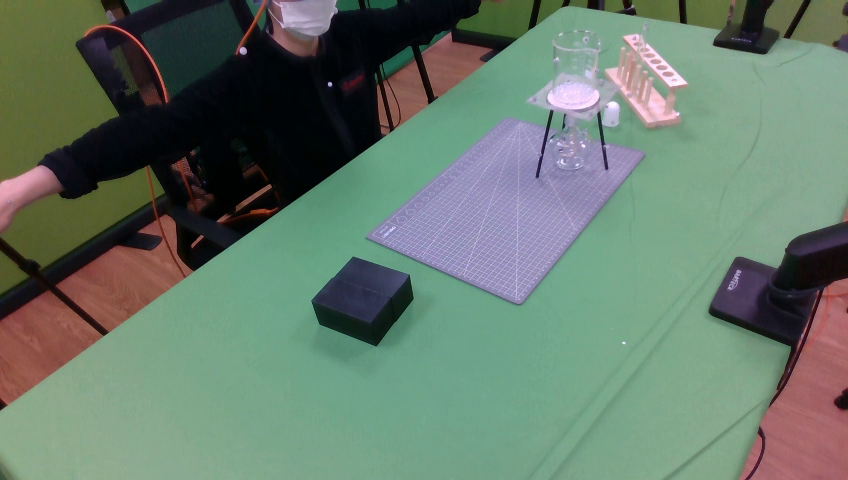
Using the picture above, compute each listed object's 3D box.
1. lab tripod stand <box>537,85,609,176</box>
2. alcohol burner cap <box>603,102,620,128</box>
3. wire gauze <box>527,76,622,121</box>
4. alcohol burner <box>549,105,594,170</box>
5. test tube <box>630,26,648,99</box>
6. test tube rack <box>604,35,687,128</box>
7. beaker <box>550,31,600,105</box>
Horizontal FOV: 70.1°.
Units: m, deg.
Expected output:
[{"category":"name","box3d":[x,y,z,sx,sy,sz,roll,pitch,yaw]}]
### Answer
[{"category":"lab tripod stand","box3d":[0.259,-0.192,1.068,0.148,0.132,0.147,-4,43,4]},{"category":"alcohol burner cap","box3d":[0.371,-0.249,1.193,0.034,0.048,0.033,-5,41,5]},{"category":"wire gauze","box3d":[0.255,-0.247,1.030,0.124,0.011,0.122,23,49,34]},{"category":"alcohol burner","box3d":[0.262,-0.186,1.076,0.078,0.119,0.077,-6,41,6]},{"category":"test tube","box3d":[0.426,-0.350,1.199,0.017,0.151,0.017,-4,42,4]},{"category":"test tube rack","box3d":[0.447,-0.330,1.241,0.067,0.085,0.241,-9,41,-2]},{"category":"beaker","box3d":[0.250,-0.281,0.996,0.074,0.101,0.083,-37,49,-27]}]
